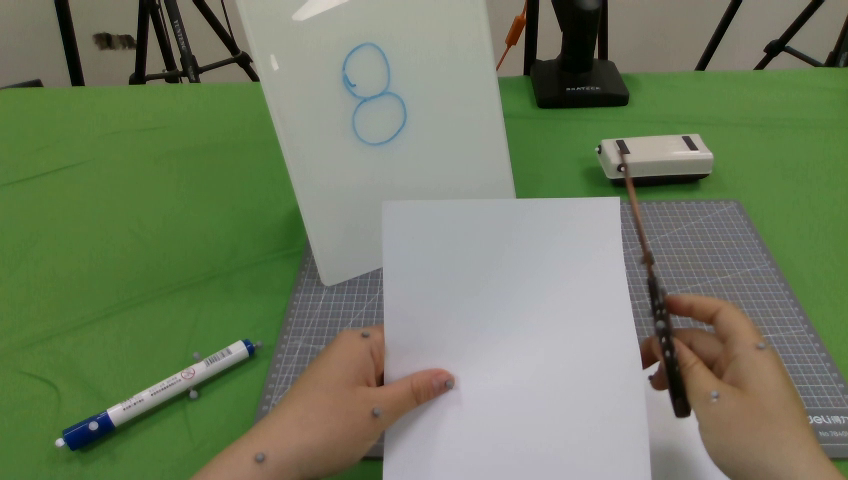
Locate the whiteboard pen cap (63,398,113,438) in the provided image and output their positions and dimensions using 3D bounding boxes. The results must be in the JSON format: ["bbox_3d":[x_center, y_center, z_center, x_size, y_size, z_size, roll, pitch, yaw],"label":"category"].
[{"bbox_3d":[-0.245,0.129,0.446,0.033,0.018,0.018,-29,47,-28],"label":"whiteboard pen cap"}]

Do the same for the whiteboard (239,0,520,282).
[{"bbox_3d":[-0.053,-0.153,0.593,0.217,0.307,0.142,-20,24,-18],"label":"whiteboard"}]

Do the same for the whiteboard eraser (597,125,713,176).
[{"bbox_3d":[0.253,-0.098,0.669,0.113,0.042,0.055,-2,43,0],"label":"whiteboard eraser"}]

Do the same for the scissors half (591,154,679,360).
[{"bbox_3d":[0.149,0.022,0.404,0.013,0.175,0.040,-25,-3,12],"label":"scissors half"}]

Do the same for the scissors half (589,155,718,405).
[{"bbox_3d":[0.141,0.019,0.385,0.013,0.040,0.174,-27,69,18],"label":"scissors half"}]

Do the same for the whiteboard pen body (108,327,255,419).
[{"bbox_3d":[-0.198,0.107,0.472,0.141,0.017,0.017,-29,47,-28],"label":"whiteboard pen body"}]
